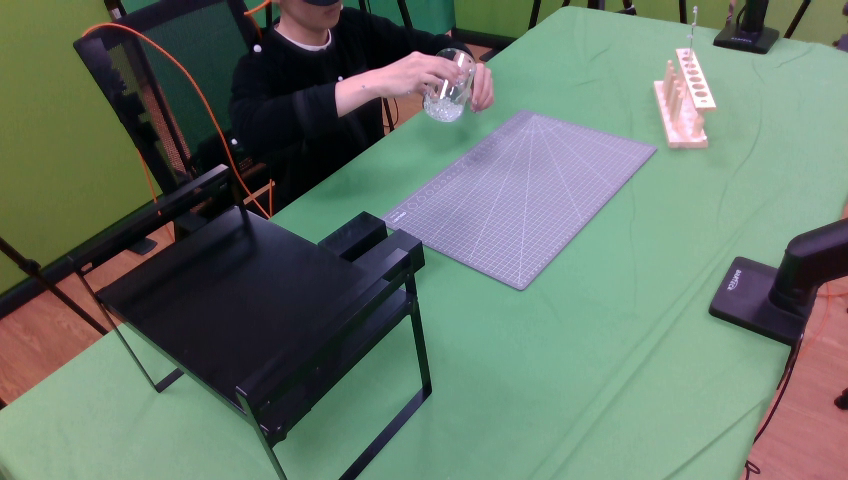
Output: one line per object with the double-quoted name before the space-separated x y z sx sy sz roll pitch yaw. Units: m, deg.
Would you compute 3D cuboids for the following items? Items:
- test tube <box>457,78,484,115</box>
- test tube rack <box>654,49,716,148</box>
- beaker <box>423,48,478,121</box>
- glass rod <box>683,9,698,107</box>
"test tube" 0.090 -0.267 1.137 0.017 0.151 0.017 -3 80 19
"test tube rack" 0.502 -0.281 1.176 0.066 0.085 0.241 2 41 11
"beaker" 0.044 -0.256 1.017 0.073 0.084 0.100 9 65 18
"glass rod" 0.501 -0.336 1.139 0.008 0.201 0.008 -8 42 8
